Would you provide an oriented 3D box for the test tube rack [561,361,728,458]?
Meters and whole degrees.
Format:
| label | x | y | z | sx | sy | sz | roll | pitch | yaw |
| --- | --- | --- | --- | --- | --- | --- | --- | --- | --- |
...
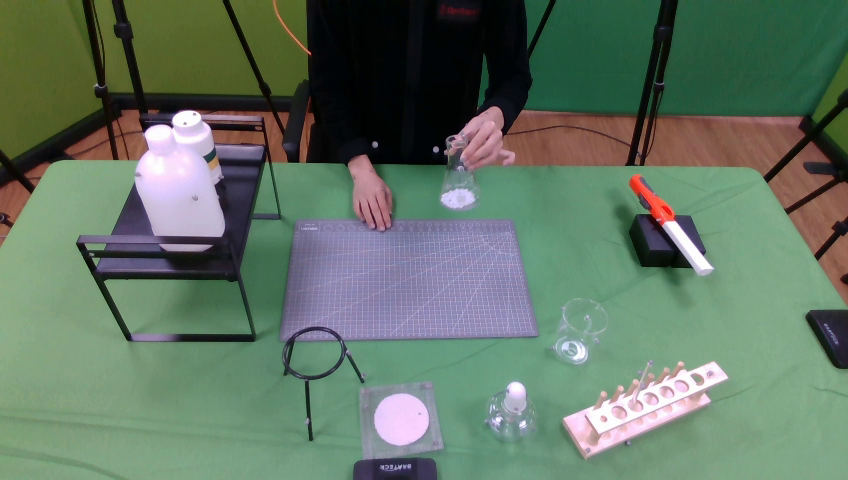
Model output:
| label | x | y | z | sx | sy | sz | roll | pitch | yaw |
| --- | --- | --- | --- | --- | --- | --- | --- | --- | --- |
| test tube rack | 0.341 | 0.248 | 0.940 | 0.243 | 0.085 | 0.066 | -15 | 49 | -18 |

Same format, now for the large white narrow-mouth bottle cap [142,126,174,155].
| label | x | y | z | sx | sy | sz | roll | pitch | yaw |
| --- | --- | --- | --- | --- | --- | --- | --- | --- | --- |
| large white narrow-mouth bottle cap | -0.356 | -0.133 | 0.811 | 0.038 | 0.024 | 0.037 | 2 | 48 | -2 |

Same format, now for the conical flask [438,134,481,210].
| label | x | y | z | sx | sy | sz | roll | pitch | yaw |
| --- | --- | --- | --- | --- | --- | --- | --- | --- | --- |
| conical flask | 0.058 | -0.118 | 1.035 | 0.075 | 0.122 | 0.075 | -3 | 33 | 2 |

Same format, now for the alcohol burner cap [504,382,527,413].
| label | x | y | z | sx | sy | sz | roll | pitch | yaw |
| --- | --- | --- | --- | --- | --- | --- | --- | --- | --- |
| alcohol burner cap | 0.133 | 0.225 | 0.877 | 0.034 | 0.048 | 0.033 | -4 | 47 | 5 |

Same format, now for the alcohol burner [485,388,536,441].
| label | x | y | z | sx | sy | sz | roll | pitch | yaw |
| --- | --- | --- | --- | --- | --- | --- | --- | --- | --- |
| alcohol burner | 0.131 | 0.249 | 0.904 | 0.078 | 0.120 | 0.077 | 1 | 48 | -1 |

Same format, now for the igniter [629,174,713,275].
| label | x | y | z | sx | sy | sz | roll | pitch | yaw |
| --- | --- | --- | --- | --- | --- | --- | --- | --- | --- |
| igniter | 0.481 | -0.040 | 1.202 | 0.057 | 0.025 | 0.274 | -2 | 46 | -21 |

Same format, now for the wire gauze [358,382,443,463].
| label | x | y | z | sx | sy | sz | roll | pitch | yaw |
| --- | --- | --- | --- | --- | --- | --- | --- | --- | --- |
| wire gauze | -0.039 | 0.277 | 0.937 | 0.121 | 0.011 | 0.124 | -4 | 47 | -7 |

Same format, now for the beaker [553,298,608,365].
| label | x | y | z | sx | sy | sz | roll | pitch | yaw |
| --- | --- | --- | --- | --- | --- | --- | --- | --- | --- |
| beaker | 0.260 | 0.154 | 1.014 | 0.073 | 0.101 | 0.084 | 37 | 54 | 27 |

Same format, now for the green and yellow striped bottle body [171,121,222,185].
| label | x | y | z | sx | sy | sz | roll | pitch | yaw |
| --- | --- | --- | --- | --- | --- | --- | --- | --- | --- |
| green and yellow striped bottle body | -0.375 | -0.149 | 0.995 | 0.063 | 0.120 | 0.063 | 2 | 46 | -2 |

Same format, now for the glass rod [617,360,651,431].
| label | x | y | z | sx | sy | sz | roll | pitch | yaw |
| --- | --- | --- | --- | --- | --- | --- | --- | --- | --- |
| glass rod | 0.298 | 0.226 | 0.865 | 0.008 | 0.201 | 0.008 | -1 | 48 | 2 |

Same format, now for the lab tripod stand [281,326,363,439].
| label | x | y | z | sx | sy | sz | roll | pitch | yaw |
| --- | --- | --- | --- | --- | --- | --- | --- | --- | --- |
| lab tripod stand | -0.166 | 0.203 | 0.913 | 0.148 | 0.132 | 0.147 | 1 | 47 | -1 |

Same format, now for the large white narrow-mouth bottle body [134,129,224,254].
| label | x | y | z | sx | sy | sz | roll | pitch | yaw |
| --- | --- | --- | --- | --- | --- | --- | --- | --- | --- |
| large white narrow-mouth bottle body | -0.358 | -0.075 | 0.875 | 0.102 | 0.195 | 0.101 | 1 | 48 | -1 |

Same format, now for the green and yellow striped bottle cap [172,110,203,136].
| label | x | y | z | sx | sy | sz | roll | pitch | yaw |
| --- | --- | --- | --- | --- | --- | --- | --- | --- | --- |
| green and yellow striped bottle cap | -0.374 | -0.185 | 0.958 | 0.045 | 0.020 | 0.045 | 4 | 46 | -4 |
